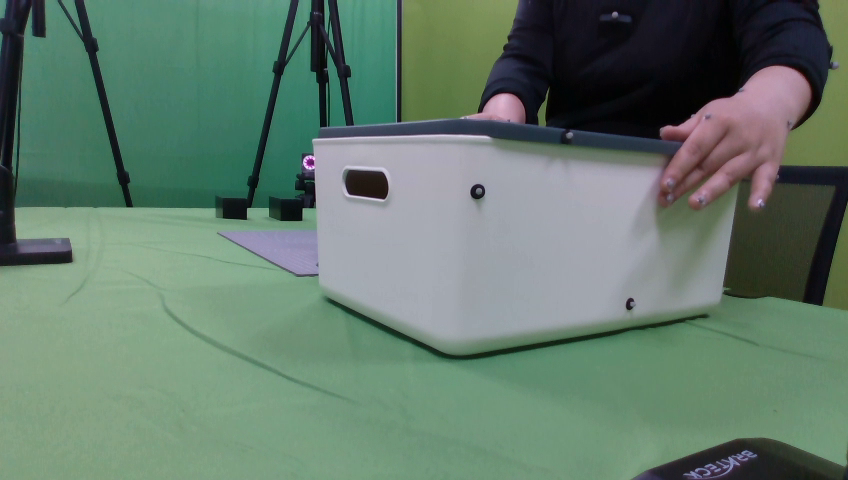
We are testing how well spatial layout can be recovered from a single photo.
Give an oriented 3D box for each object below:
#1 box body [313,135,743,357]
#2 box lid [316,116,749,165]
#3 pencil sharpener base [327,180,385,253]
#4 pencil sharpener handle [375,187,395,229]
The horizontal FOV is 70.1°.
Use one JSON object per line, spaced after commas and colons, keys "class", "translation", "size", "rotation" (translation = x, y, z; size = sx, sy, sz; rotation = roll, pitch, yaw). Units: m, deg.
{"class": "box body", "translation": [0.099, -0.011, 0.596], "size": [0.366, 0.160, 0.253], "rotation": [-2, 8, -34]}
{"class": "box lid", "translation": [0.106, -0.089, 0.593], "size": [0.374, 0.015, 0.262], "rotation": [-1, 6, -35]}
{"class": "pencil sharpener base", "translation": [-0.103, -0.037, 0.933], "size": [0.077, 0.107, 0.061], "rotation": [-1, 8, -30]}
{"class": "pencil sharpener handle", "translation": [-0.059, -0.050, 0.958], "size": [0.031, 0.067, 0.036], "rotation": [-1, 14, -30]}
